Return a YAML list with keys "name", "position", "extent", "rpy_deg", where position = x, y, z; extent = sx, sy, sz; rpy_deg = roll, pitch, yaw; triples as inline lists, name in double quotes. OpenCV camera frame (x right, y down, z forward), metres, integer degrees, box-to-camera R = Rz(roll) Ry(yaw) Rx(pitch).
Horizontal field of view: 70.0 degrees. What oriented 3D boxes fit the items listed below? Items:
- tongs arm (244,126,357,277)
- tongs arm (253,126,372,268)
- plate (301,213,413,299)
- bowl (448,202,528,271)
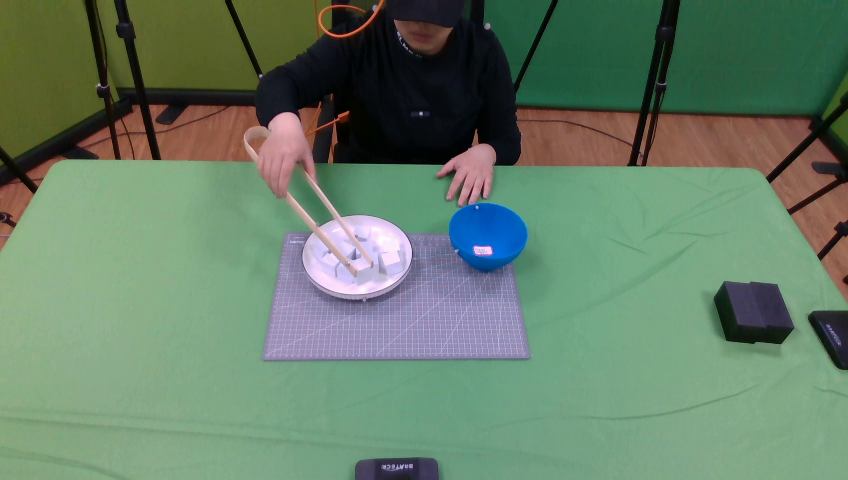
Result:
- name: "tongs arm"
  position: [-0.229, -0.079, 1.123]
  extent: [0.051, 0.026, 0.383]
  rpy_deg: [-34, 67, -27]
- name: "tongs arm"
  position: [-0.211, -0.089, 1.133]
  extent: [0.028, 0.028, 0.385]
  rpy_deg: [-31, 65, -22]
- name: "plate"
  position: [-0.124, 0.033, 1.143]
  extent: [0.208, 0.039, 0.206]
  rpy_deg: [2, 46, -2]
- name: "bowl"
  position: [0.118, 0.006, 1.160]
  extent: [0.151, 0.077, 0.150]
  rpy_deg: [2, 46, -2]
